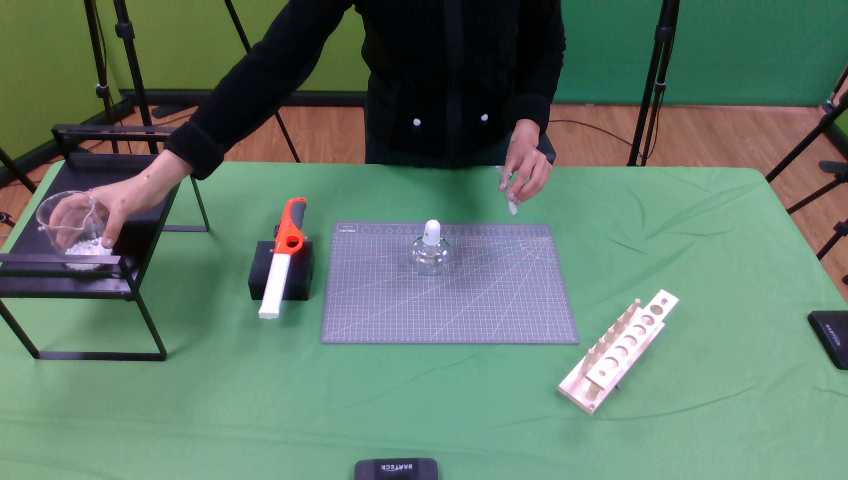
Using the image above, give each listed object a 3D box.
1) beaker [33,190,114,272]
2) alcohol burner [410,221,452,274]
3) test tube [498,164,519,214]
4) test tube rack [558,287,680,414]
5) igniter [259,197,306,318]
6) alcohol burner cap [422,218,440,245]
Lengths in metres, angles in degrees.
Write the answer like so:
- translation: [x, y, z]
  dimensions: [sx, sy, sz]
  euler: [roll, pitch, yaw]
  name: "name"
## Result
- translation: [-0.492, -0.008, 0.864]
  dimensions: [0.083, 0.101, 0.074]
  euler: [37, 56, 27]
  name: "beaker"
- translation: [0.013, 0.008, 1.120]
  dimensions: [0.078, 0.120, 0.077]
  euler: [1, 49, -1]
  name: "alcohol burner"
- translation: [0.151, -0.087, 1.081]
  dimensions: [0.017, 0.151, 0.017]
  euler: [-8, 60, 14]
  name: "test tube"
- translation: [0.326, 0.170, 1.009]
  dimensions: [0.066, 0.085, 0.242]
  euler: [36, 54, 27]
  name: "test tube rack"
- translation: [-0.252, 0.021, 1.087]
  dimensions: [0.057, 0.025, 0.275]
  euler: [5, 48, -3]
  name: "igniter"
- translation: [0.014, -0.018, 1.094]
  dimensions: [0.034, 0.048, 0.033]
  euler: [3, 43, -3]
  name: "alcohol burner cap"
